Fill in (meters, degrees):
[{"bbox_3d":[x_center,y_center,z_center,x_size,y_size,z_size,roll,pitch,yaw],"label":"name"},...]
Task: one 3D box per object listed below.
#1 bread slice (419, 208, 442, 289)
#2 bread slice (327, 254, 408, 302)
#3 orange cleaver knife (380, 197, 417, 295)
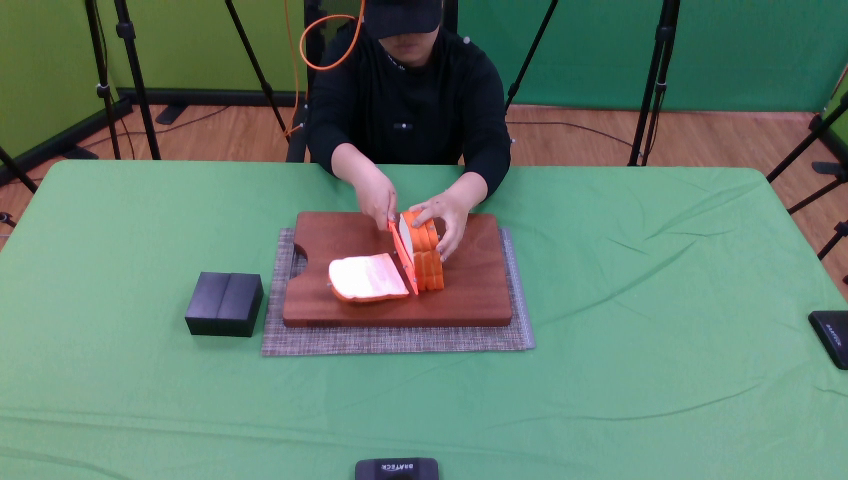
[{"bbox_3d":[0.010,0.012,1.077,0.018,0.135,0.106,-12,50,-7],"label":"bread slice"},{"bbox_3d":[-0.106,0.068,1.069,0.132,0.019,0.104,-4,43,-27],"label":"bread slice"},{"bbox_3d":[-0.047,0.008,1.109,0.012,0.077,0.210,-15,50,-10],"label":"orange cleaver knife"}]
